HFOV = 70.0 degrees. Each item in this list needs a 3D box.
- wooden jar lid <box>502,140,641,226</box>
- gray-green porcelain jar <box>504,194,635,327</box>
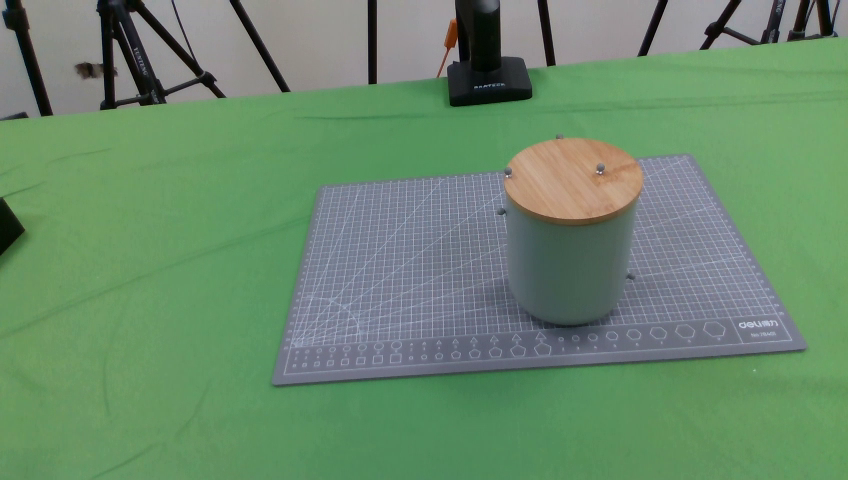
[{"bbox_3d":[0.117,-0.044,0.488,0.108,0.021,0.107,-5,41,5],"label":"wooden jar lid"},{"bbox_3d":[0.124,0.004,0.528,0.106,0.128,0.105,-5,40,4],"label":"gray-green porcelain jar"}]
